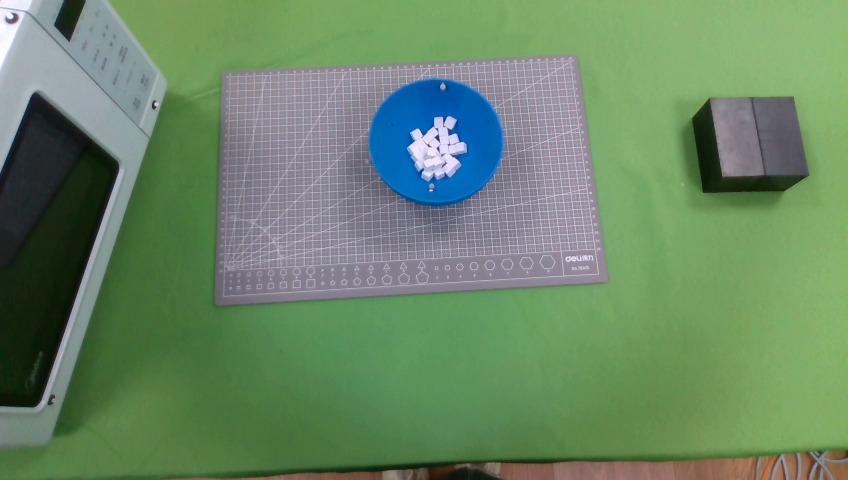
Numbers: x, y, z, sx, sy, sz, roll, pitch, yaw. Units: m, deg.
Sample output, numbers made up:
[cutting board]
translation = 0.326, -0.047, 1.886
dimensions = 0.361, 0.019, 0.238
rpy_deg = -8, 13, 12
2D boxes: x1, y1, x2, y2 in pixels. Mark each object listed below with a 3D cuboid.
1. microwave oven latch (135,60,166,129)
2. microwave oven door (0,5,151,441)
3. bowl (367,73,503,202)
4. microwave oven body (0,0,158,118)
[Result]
[microwave oven latch]
translation = -0.331, -0.174, 0.718
dimensions = 0.030, 0.029, 0.079
rpy_deg = 12, 76, 2
[microwave oven door]
translation = -0.373, 0.005, 0.564
dimensions = 0.039, 0.245, 0.354
rpy_deg = 10, 75, 3
[bowl]
translation = 0.012, -0.105, 0.697
dimensions = 0.151, 0.077, 0.150
rpy_deg = 0, 75, 0
[microwave oven body]
translation = -0.509, -0.059, 0.585
dimensions = 0.326, 0.261, 0.439
rpy_deg = 10, 75, 2
